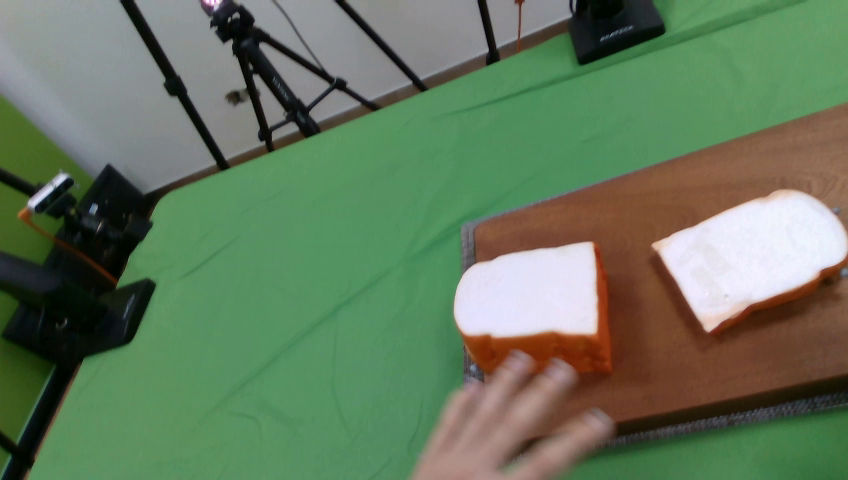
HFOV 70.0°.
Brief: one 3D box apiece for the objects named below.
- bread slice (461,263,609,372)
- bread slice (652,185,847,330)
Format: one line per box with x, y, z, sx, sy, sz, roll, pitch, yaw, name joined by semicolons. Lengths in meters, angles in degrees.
0.099;0.069;0.552;0.134;0.018;0.106;-5;46;23;bread slice
0.269;0.010;0.496;0.131;0.019;0.104;-28;39;16;bread slice
